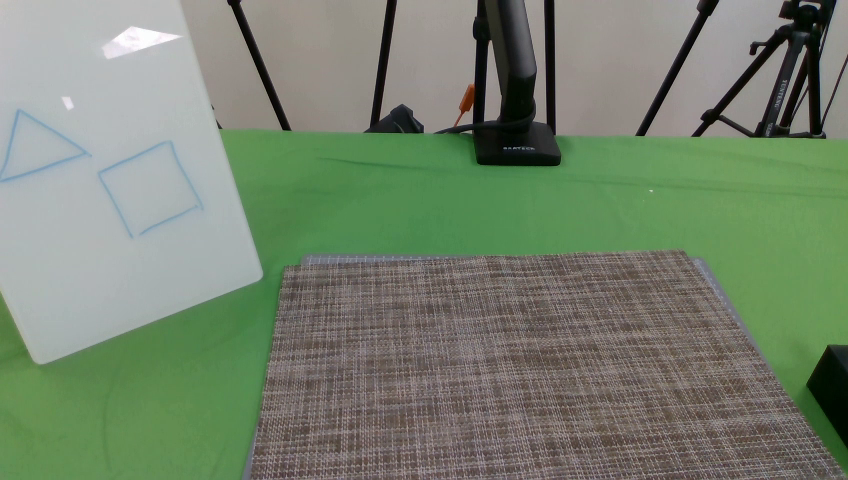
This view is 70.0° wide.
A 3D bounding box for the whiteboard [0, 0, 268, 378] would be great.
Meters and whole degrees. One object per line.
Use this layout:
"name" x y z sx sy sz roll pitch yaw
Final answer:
"whiteboard" -0.316 -0.067 0.590 0.217 0.307 0.142 -23 22 -29
